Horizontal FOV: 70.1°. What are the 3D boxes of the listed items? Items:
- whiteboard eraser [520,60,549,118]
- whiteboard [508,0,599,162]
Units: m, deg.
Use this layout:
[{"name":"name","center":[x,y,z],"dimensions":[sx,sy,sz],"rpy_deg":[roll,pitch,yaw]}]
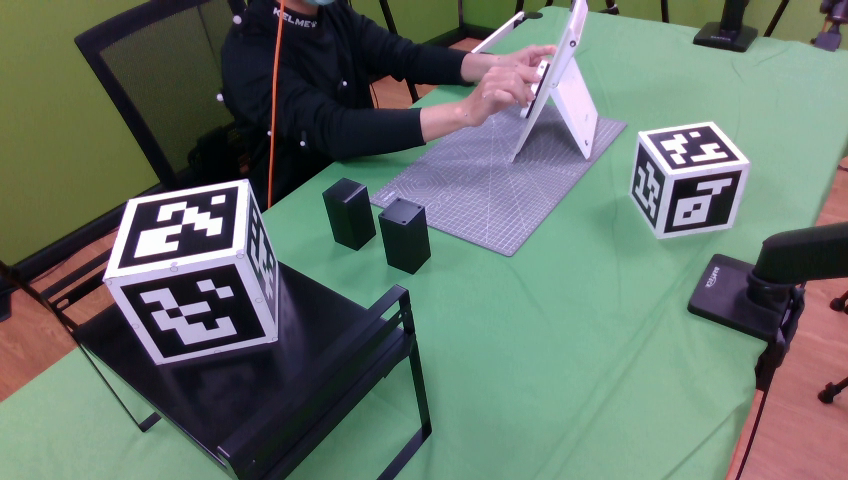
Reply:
[{"name":"whiteboard eraser","center":[0.193,-0.263,1.058],"dimensions":[0.019,0.101,0.041],"rpy_deg":[21,20,2]},{"name":"whiteboard","center":[0.285,-0.289,1.090],"dimensions":[0.144,0.305,0.217],"rpy_deg":[22,45,3]}]
